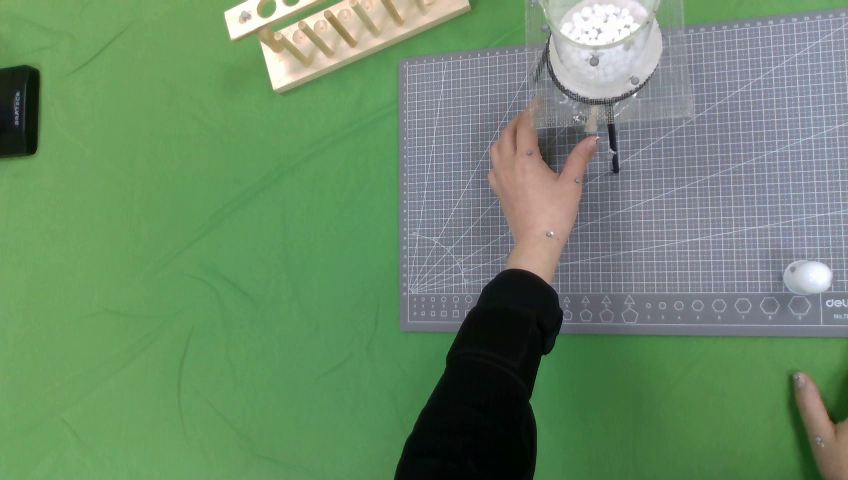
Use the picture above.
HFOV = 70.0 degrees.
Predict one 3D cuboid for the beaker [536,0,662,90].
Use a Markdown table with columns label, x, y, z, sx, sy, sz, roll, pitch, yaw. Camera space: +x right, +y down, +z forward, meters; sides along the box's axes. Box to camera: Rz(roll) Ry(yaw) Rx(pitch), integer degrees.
| label | x | y | z | sx | sy | sz | roll | pitch | yaw |
| --- | --- | --- | --- | --- | --- | --- | --- | --- | --- |
| beaker | 0.124 | -0.156 | 0.437 | 0.083 | 0.101 | 0.074 | 12 | 90 | 17 |

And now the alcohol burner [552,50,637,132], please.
| label | x | y | z | sx | sy | sz | roll | pitch | yaw |
| --- | --- | --- | --- | --- | --- | --- | --- | --- | --- |
| alcohol burner | 0.156 | -0.142 | 0.556 | 0.077 | 0.119 | 0.077 | -1 | 85 | 14 |

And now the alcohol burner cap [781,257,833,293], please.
| label | x | y | z | sx | sy | sz | roll | pitch | yaw |
| --- | --- | --- | --- | --- | --- | --- | --- | --- | --- |
| alcohol burner cap | 0.337 | 0.030 | 0.530 | 0.034 | 0.048 | 0.034 | -1 | 85 | 15 |

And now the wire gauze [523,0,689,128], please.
| label | x | y | z | sx | sy | sz | roll | pitch | yaw |
| --- | --- | --- | --- | --- | --- | --- | --- | --- | --- |
| wire gauze | 0.143 | -0.152 | 0.482 | 0.125 | 0.011 | 0.121 | -2 | 89 | 13 |

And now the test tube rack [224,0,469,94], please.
| label | x | y | z | sx | sy | sz | roll | pitch | yaw |
| --- | --- | --- | --- | --- | --- | --- | --- | --- | --- |
| test tube rack | -0.082 | -0.244 | 0.649 | 0.242 | 0.085 | 0.066 | -19 | 81 | 14 |

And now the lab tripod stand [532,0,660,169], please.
| label | x | y | z | sx | sy | sz | roll | pitch | yaw |
| --- | --- | --- | --- | --- | --- | --- | --- | --- | --- |
| lab tripod stand | 0.161 | -0.146 | 0.545 | 0.148 | 0.132 | 0.148 | -1 | 87 | 14 |
